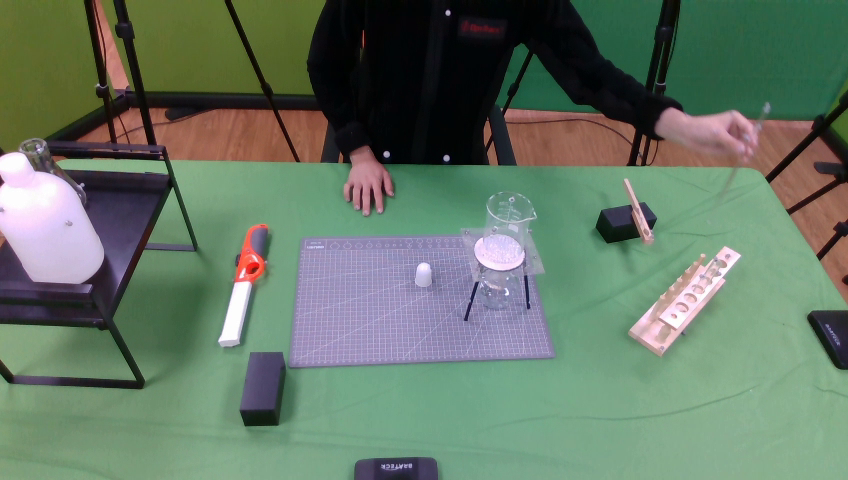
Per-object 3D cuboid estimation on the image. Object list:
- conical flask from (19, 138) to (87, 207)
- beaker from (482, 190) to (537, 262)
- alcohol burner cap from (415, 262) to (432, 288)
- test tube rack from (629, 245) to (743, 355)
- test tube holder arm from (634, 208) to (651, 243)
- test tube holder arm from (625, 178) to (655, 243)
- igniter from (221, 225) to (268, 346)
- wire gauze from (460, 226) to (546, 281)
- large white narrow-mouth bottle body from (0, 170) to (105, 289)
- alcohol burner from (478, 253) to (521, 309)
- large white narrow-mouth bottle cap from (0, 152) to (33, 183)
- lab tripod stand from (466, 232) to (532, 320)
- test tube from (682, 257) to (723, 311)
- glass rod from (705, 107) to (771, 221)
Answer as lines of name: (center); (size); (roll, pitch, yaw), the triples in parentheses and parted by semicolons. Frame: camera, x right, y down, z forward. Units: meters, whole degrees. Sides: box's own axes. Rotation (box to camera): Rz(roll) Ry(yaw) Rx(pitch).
conical flask: (-0.576, -0.097, 0.930); (0.075, 0.122, 0.075); (2, 46, -2)
beaker: (0.136, -0.019, 0.983); (0.084, 0.101, 0.073); (17, 47, 14)
alcohol burner cap: (0.000, 0.061, 1.119); (0.034, 0.048, 0.033); (3, 43, -3)
test tube rack: (0.474, 0.095, 1.091); (0.242, 0.085, 0.066); (-34, 56, -31)
test tube holder arm: (0.428, -0.030, 1.189); (0.010, 0.015, 0.087); (1, 47, -2)
test tube holder arm: (0.433, -0.062, 1.220); (0.013, 0.015, 0.177); (0, 47, -2)
igniter: (-0.323, 0.072, 1.100); (0.057, 0.025, 0.274); (-6, 45, 5)
wire gauze: (0.130, 0.017, 1.016); (0.121, 0.011, 0.124); (-4, 43, -9)
large white narrow-mouth bottle body: (-0.513, -0.029, 0.818); (0.102, 0.195, 0.101); (2, 46, -2)
alcohol burner: (0.134, 0.067, 1.073); (0.078, 0.120, 0.077); (0, 47, 0)
large white narrow-mouth bottle cap: (-0.510, -0.090, 0.754); (0.038, 0.024, 0.037); (2, 46, -2)
lab tripod stand: (0.125, 0.059, 1.065); (0.148, 0.132, 0.147); (1, 45, 0)
test tube: (0.475, 0.080, 1.037); (0.017, 0.151, 0.017); (1, 50, -1)
glass rod: (0.491, -0.115, 0.954); (0.008, 0.200, 0.008); (11, 32, -7)
